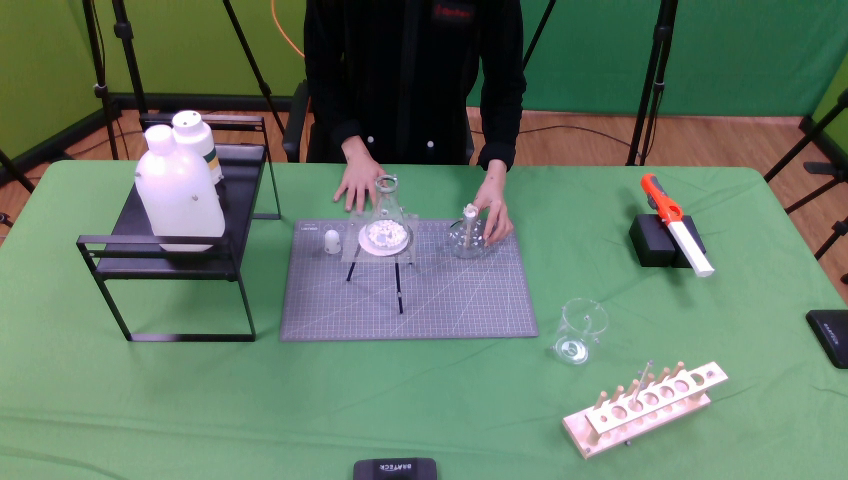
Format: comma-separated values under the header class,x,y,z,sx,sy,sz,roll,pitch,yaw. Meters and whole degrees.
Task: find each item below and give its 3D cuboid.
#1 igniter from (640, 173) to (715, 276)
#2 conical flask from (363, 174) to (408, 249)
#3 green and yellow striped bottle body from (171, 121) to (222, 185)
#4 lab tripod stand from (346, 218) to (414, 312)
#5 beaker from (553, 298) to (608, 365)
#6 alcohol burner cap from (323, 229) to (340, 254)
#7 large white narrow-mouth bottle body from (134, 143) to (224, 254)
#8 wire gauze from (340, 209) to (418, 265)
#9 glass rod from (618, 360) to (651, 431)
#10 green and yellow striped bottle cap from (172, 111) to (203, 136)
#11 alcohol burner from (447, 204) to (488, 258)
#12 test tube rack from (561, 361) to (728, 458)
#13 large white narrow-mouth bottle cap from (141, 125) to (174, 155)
class,x,y,z,sx,sy,sz,roll,pitch,yaw
igniter,0.495,-0.039,1.204,0.057,0.025,0.274,-2,47,-12
conical flask,-0.063,-0.050,0.985,0.075,0.122,0.075,2,46,-1
green and yellow striped bottle body,-0.375,-0.149,0.995,0.063,0.120,0.063,2,46,-2
lab tripod stand,-0.070,0.037,1.075,0.148,0.132,0.147,1,47,-1
beaker,0.260,0.154,1.015,0.073,0.101,0.084,37,54,27
alcohol burner cap,-0.179,0.001,1.165,0.034,0.048,0.033,2,45,-2
large white narrow-mouth bottle body,-0.358,-0.075,0.875,0.102,0.195,0.101,2,48,-1
wire gauze,-0.074,-0.006,1.024,0.121,0.011,0.124,2,48,1
glass rod,0.298,0.227,0.865,0.008,0.201,0.008,-2,48,2
green and yellow striped bottle cap,-0.374,-0.185,0.958,0.045,0.020,0.045,4,46,-4
alcohol burner,0.084,-0.022,1.158,0.078,0.120,0.077,1,47,0
test tube rack,0.341,0.248,0.940,0.243,0.085,0.066,-15,49,-18
large white narrow-mouth bottle cap,-0.356,-0.134,0.810,0.038,0.024,0.037,2,48,-2
